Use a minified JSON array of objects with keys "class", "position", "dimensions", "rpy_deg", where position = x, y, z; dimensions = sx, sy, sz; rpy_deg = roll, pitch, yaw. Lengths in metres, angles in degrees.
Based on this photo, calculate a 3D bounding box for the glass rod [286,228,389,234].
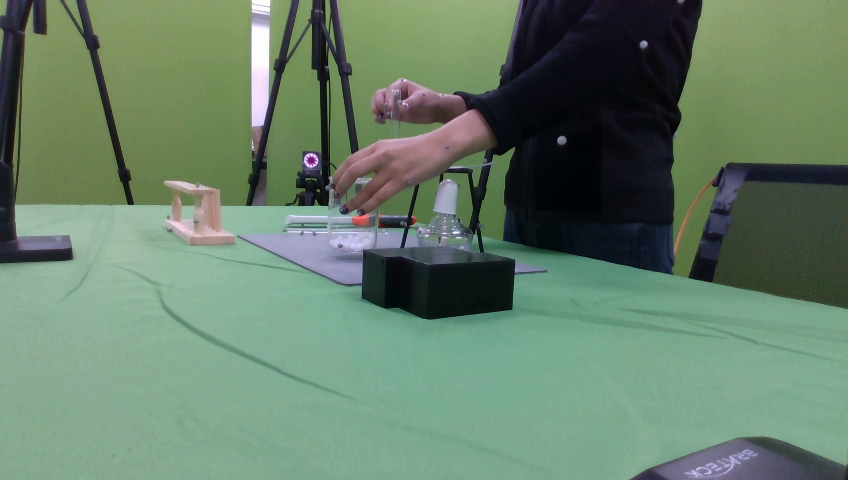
[{"class":"glass rod","position":[-0.154,-0.016,1.101],"dimensions":[0.201,0.008,0.008],"rpy_deg":[1,6,-31]}]

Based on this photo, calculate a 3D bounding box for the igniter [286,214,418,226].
[{"class":"igniter","position":[-0.145,-0.043,1.263],"dimensions":[0.278,0.025,0.057],"rpy_deg":[-1,-2,-24]}]

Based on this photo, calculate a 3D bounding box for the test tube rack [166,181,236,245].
[{"class":"test tube rack","position":[-0.383,-0.051,1.024],"dimensions":[0.067,0.085,0.241],"rpy_deg":[-2,9,-31]}]

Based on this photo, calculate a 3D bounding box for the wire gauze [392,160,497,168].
[{"class":"wire gauze","position":[0.027,-0.115,0.919],"dimensions":[0.122,0.011,0.124],"rpy_deg":[-4,10,-34]}]

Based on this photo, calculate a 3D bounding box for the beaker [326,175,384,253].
[{"class":"beaker","position":[-0.098,-0.037,0.837],"dimensions":[0.074,0.100,0.083],"rpy_deg":[1,10,-23]}]

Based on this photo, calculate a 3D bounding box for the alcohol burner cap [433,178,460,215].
[{"class":"alcohol burner cap","position":[0.032,-0.059,0.806],"dimensions":[0.034,0.048,0.034],"rpy_deg":[9,9,-1]}]

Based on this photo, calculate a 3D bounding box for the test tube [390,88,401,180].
[{"class":"test tube","position":[-0.047,-0.174,0.996],"dimensions":[0.017,0.150,0.017],"rpy_deg":[2,13,0]}]

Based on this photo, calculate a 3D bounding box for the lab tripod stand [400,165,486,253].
[{"class":"lab tripod stand","position":[0.027,-0.049,0.930],"dimensions":[0.148,0.131,0.148],"rpy_deg":[2,9,0]}]

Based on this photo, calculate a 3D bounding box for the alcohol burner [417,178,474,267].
[{"class":"alcohol burner","position":[0.029,-0.024,0.810],"dimensions":[0.078,0.119,0.078],"rpy_deg":[1,8,0]}]
